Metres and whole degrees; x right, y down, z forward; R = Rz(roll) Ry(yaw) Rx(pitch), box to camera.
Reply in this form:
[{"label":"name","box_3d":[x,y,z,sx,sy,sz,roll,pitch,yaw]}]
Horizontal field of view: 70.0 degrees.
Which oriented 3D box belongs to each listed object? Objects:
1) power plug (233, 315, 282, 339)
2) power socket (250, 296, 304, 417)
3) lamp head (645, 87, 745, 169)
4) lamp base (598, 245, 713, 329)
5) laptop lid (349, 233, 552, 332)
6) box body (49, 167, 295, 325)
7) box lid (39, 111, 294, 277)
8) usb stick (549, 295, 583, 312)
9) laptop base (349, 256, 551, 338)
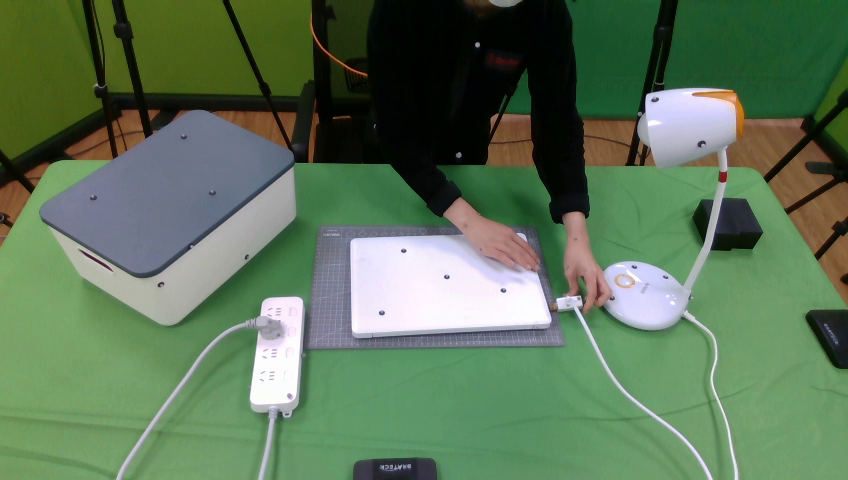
[{"label":"power plug","box_3d":[-0.271,0.144,1.000,0.072,0.053,0.035,6,46,3]},{"label":"power socket","box_3d":[-0.239,0.182,0.996,0.072,0.033,0.225,-2,47,-5]},{"label":"lamp head","box_3d":[0.382,-0.161,0.852,0.122,0.113,0.112,-4,42,25]},{"label":"lamp base","box_3d":[0.420,0.051,1.071,0.179,0.181,0.160,22,49,13]},{"label":"laptop lid","box_3d":[0.040,0.071,1.119,0.357,0.013,0.240,-1,44,-5]},{"label":"box body","box_3d":[-0.437,-0.046,1.110,0.253,0.161,0.363,24,49,19]},{"label":"box lid","box_3d":[-0.434,-0.097,1.055,0.262,0.015,0.370,25,49,18]},{"label":"usb stick","box_3d":[0.256,0.116,1.097,0.059,0.027,0.021,-9,71,7]},{"label":"laptop base","box_3d":[0.039,0.081,1.126,0.355,0.023,0.234,-2,43,-6]}]
